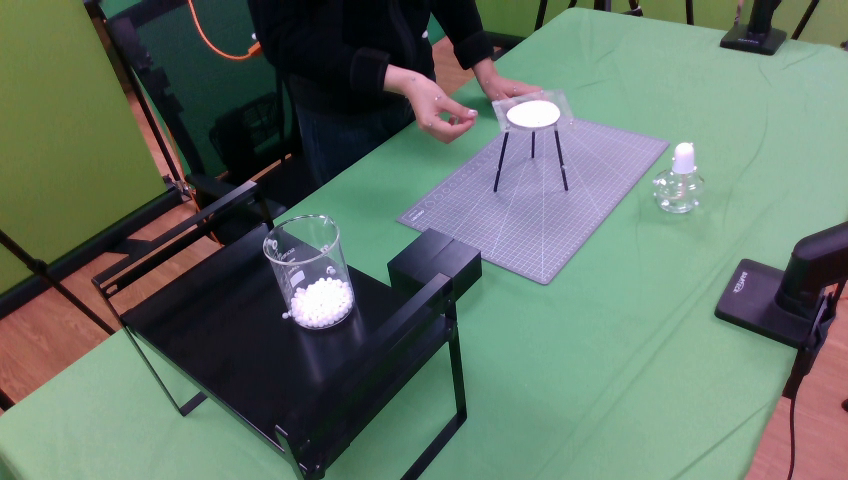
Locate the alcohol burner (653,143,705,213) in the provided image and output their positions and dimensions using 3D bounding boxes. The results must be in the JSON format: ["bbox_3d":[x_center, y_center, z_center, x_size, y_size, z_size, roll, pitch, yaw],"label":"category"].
[{"bbox_3d":[0.408,-0.102,0.963,0.078,0.119,0.077,-5,42,5],"label":"alcohol burner"}]

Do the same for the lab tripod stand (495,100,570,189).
[{"bbox_3d":[0.186,-0.161,1.043,0.148,0.132,0.147,-5,43,5],"label":"lab tripod stand"}]

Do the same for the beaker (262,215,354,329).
[{"bbox_3d":[-0.112,0.034,0.616,0.073,0.101,0.084,13,44,23],"label":"beaker"}]

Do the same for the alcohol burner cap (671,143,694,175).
[{"bbox_3d":[0.403,-0.129,0.941,0.034,0.048,0.033,-10,39,8],"label":"alcohol burner cap"}]

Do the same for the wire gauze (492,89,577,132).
[{"bbox_3d":[0.181,-0.213,1.002,0.125,0.011,0.121,-5,41,3],"label":"wire gauze"}]
